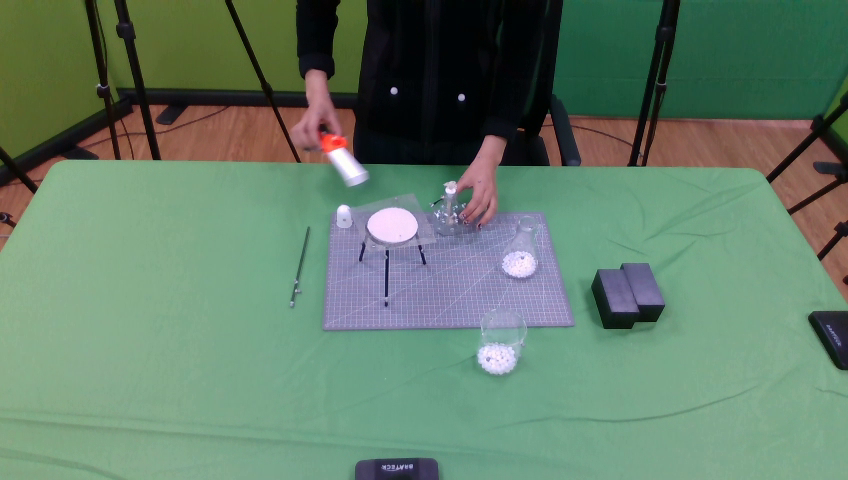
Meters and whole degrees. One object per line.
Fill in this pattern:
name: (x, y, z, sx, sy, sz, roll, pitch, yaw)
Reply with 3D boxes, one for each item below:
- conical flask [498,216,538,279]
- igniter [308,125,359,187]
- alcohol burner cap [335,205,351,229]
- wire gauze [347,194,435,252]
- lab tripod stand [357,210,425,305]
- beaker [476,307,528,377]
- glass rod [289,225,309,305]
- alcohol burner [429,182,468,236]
conical flask: (0.183, 0.010, 1.131, 0.075, 0.122, 0.075, 2, 46, -2)
igniter: (-0.185, -0.174, 1.203, 0.057, 0.025, 0.274, -22, 37, -13)
alcohol burner cap: (-0.164, -0.049, 1.216, 0.034, 0.048, 0.033, 2, 45, -1)
wire gauze: (-0.058, -0.029, 1.048, 0.125, 0.011, 0.120, -12, 48, -16)
lab tripod stand: (-0.060, 0.020, 1.094, 0.148, 0.132, 0.147, 3, 44, -2)
beaker: (0.122, 0.171, 0.991, 0.084, 0.101, 0.073, -34, 56, -30)
glass rod: (-0.236, 0.043, 1.149, 0.008, 0.008, 0.198, 3, 46, -1)
alcohol burner: (0.049, -0.067, 1.201, 0.078, 0.120, 0.077, 1, 46, -1)
